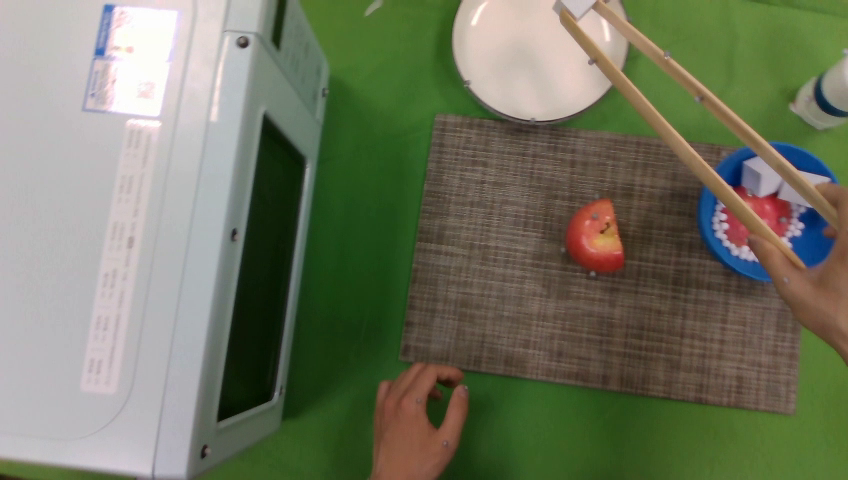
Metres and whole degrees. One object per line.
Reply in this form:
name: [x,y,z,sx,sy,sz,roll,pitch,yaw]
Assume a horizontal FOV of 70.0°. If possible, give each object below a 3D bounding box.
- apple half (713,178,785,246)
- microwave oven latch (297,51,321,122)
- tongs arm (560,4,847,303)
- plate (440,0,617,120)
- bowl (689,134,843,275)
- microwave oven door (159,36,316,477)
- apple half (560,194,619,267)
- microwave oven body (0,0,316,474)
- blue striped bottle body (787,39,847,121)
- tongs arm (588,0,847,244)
apple half: [0.361,-0.032,0.664,0.081,0.033,0.081,0,82,3]
microwave oven latch: [-0.140,-0.182,0.716,0.030,0.029,0.079,5,84,3]
tongs arm: [0.242,-0.095,0.561,0.028,0.028,0.384,-31,66,-5]
plate: [0.123,-0.242,0.729,0.207,0.039,0.207,0,84,2]
bowl: [0.360,-0.033,0.668,0.151,0.077,0.151,0,83,3]
microwave oven door: [-0.169,0.021,0.593,0.039,0.244,0.355,5,84,4]
apple half: [0.180,-0.007,0.677,0.053,0.075,0.080,-12,86,5]
microwave oven body: [-0.310,-0.033,0.610,0.326,0.261,0.440,5,84,3]
blue striped bottle body: [0.459,-0.179,0.662,0.063,0.121,0.063,0,83,3]
tongs arm: [0.262,-0.108,0.561,0.051,0.027,0.381,-36,66,-3]
